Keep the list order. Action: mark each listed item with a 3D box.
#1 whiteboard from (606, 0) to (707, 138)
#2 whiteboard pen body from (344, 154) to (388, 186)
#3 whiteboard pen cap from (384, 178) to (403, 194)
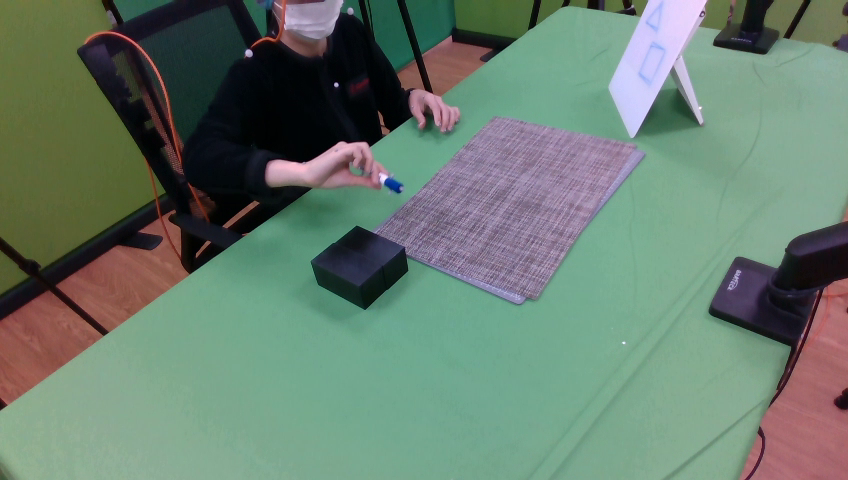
[{"bbox_3d":[0.496,-0.359,1.147,0.144,0.305,0.216,11,40,-7],"label":"whiteboard"},{"bbox_3d":[-0.086,-0.109,0.977,0.017,0.017,0.139,-32,44,-26],"label":"whiteboard pen body"},{"bbox_3d":[-0.047,-0.085,0.937,0.018,0.018,0.033,-31,42,-26],"label":"whiteboard pen cap"}]
